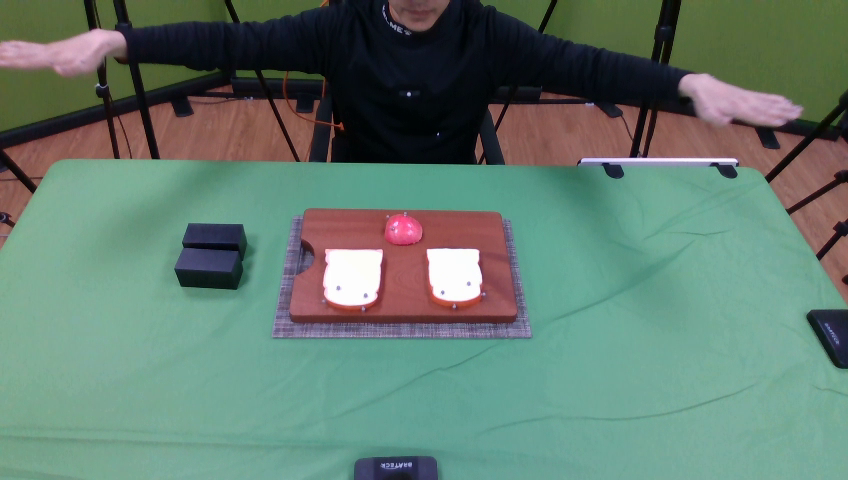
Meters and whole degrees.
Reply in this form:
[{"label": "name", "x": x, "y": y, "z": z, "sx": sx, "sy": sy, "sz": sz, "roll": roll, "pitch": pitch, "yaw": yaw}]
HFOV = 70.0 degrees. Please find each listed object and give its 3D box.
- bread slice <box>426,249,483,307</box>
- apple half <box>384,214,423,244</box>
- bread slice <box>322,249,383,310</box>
[{"label": "bread slice", "x": 0.058, "y": 0.066, "z": 1.100, "sx": 0.105, "sy": 0.019, "sz": 0.130, "roll": -1, "pitch": 45, "yaw": -3}, {"label": "apple half", "x": -0.039, "y": -0.028, "z": 1.172, "sx": 0.081, "sy": 0.033, "sz": 0.081, "roll": 1, "pitch": 45, "yaw": 0}, {"label": "bread slice", "x": -0.127, "y": 0.068, "z": 1.083, "sx": 0.107, "sy": 0.018, "sz": 0.133, "roll": -1, "pitch": 47, "yaw": -4}]
